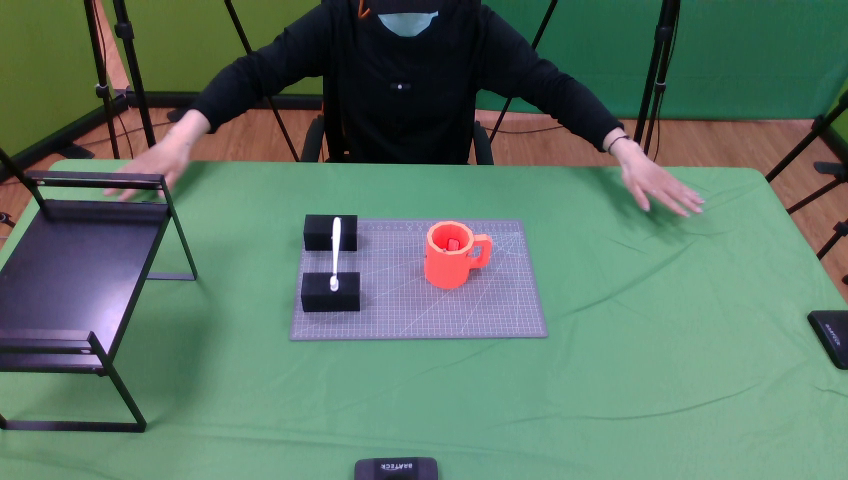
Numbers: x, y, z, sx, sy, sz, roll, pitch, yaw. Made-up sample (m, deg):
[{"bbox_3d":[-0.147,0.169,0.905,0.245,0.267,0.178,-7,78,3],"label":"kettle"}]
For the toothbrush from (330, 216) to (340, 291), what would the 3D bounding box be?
[{"bbox_3d":[-0.161,0.019,1.094,0.014,0.017,0.180,-12,45,6],"label":"toothbrush"}]

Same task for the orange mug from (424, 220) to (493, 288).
[{"bbox_3d":[0.064,0.023,1.119,0.126,0.101,0.083,-9,47,-7],"label":"orange mug"}]
